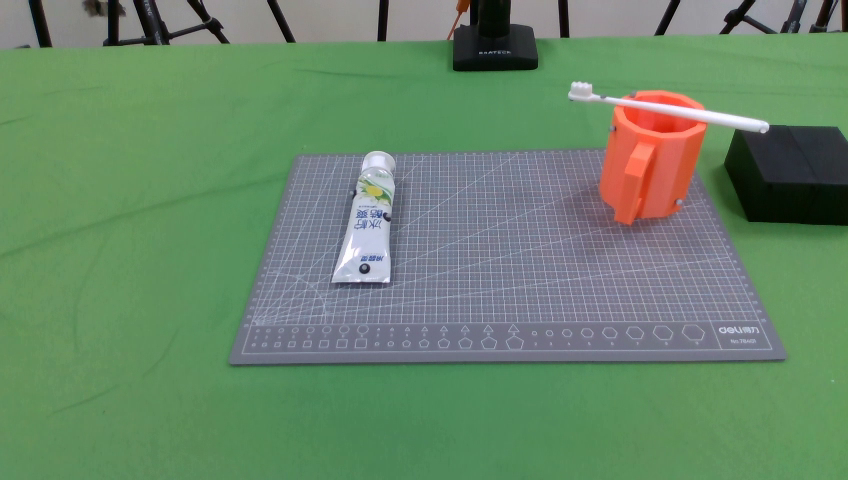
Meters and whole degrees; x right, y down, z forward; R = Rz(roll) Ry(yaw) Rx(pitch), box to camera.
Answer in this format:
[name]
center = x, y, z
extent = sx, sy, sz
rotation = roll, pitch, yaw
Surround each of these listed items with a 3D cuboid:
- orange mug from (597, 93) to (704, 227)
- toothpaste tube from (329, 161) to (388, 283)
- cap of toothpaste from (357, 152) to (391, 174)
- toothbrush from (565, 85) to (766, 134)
[orange mug]
center = 0.214, -0.073, 0.592
extent = 0.083, 0.102, 0.126
rotation = 19, 43, 23
[toothpaste tube]
center = -0.059, -0.022, 0.605
extent = 0.055, 0.035, 0.163
rotation = -4, 47, 6
[cap of toothpaste]
center = -0.055, -0.079, 0.656
extent = 0.037, 0.038, 0.011
rotation = 2, 50, 5
[toothbrush]
center = 0.222, -0.123, 0.568
extent = 0.181, 0.017, 0.014
rotation = 16, 40, 20
